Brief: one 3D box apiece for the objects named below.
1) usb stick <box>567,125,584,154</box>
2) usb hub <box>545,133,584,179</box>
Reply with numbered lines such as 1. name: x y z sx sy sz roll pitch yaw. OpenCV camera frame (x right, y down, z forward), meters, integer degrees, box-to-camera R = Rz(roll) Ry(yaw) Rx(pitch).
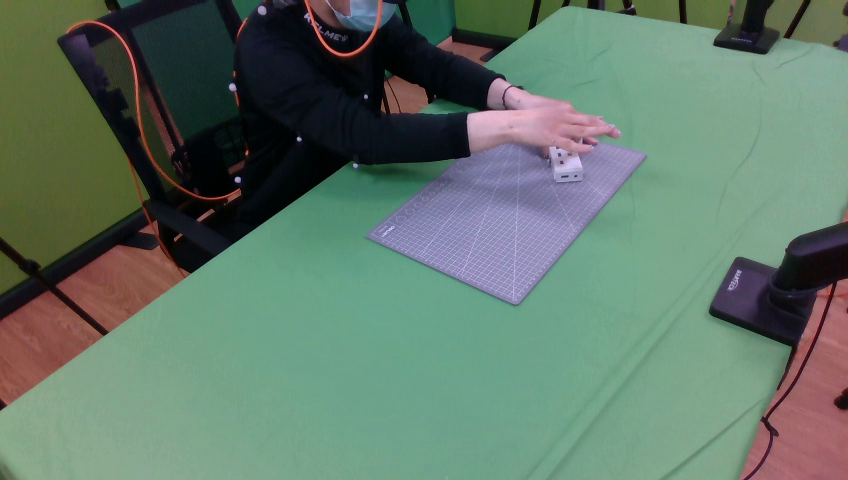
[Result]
1. usb stick: 0.268 -0.174 1.075 0.027 0.059 0.021 -2 38 2
2. usb hub: 0.256 -0.154 1.101 0.049 0.025 0.124 2 40 -1
